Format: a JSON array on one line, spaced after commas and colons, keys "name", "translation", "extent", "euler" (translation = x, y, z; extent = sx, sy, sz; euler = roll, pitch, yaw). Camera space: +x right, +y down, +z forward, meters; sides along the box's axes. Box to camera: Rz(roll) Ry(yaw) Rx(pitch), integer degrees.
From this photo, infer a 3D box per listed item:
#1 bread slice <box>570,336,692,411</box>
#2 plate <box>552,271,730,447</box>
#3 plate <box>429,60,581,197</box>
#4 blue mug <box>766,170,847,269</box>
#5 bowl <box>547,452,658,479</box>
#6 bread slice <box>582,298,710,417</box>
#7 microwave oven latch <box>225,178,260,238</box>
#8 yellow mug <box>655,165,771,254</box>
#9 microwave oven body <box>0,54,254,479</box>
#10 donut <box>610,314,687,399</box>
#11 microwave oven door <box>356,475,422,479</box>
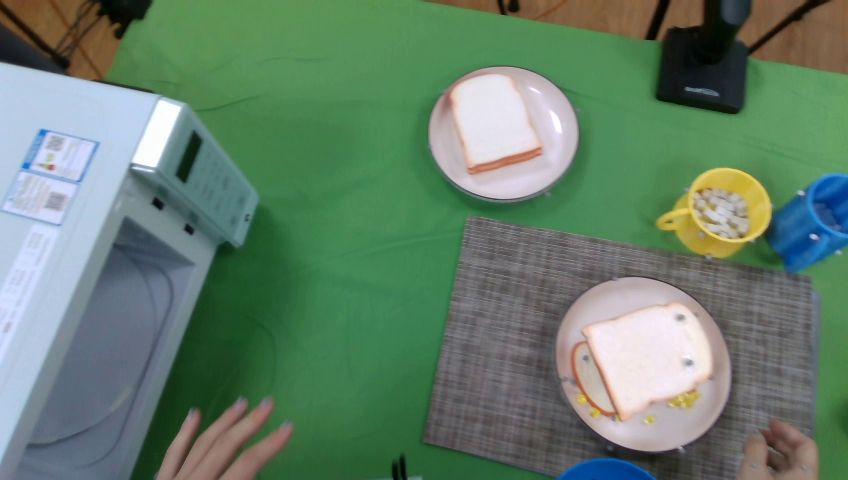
[{"name": "bread slice", "translation": [0.247, 0.149, 0.737], "extent": [0.131, 0.019, 0.104], "euler": [-19, 71, -5]}, {"name": "plate", "translation": [0.258, 0.143, 0.736], "extent": [0.209, 0.038, 0.208], "euler": [-1, 72, 3]}, {"name": "plate", "translation": [0.111, -0.152, 0.844], "extent": [0.207, 0.039, 0.206], "euler": [-1, 72, 3]}, {"name": "blue mug", "translation": [0.480, -0.015, 0.744], "extent": [0.082, 0.106, 0.116], "euler": [32, 76, 13]}, {"name": "bowl", "translation": [0.194, 0.312, 0.667], "extent": [0.151, 0.077, 0.150], "euler": [-1, 72, 3]}, {"name": "bread slice", "translation": [0.253, 0.122, 0.680], "extent": [0.134, 0.018, 0.106], "euler": [-21, 79, -11]}, {"name": "microwave oven latch", "translation": [-0.245, -0.045, 0.807], "extent": [0.030, 0.030, 0.079], "euler": [16, 74, 8]}, {"name": "yellow mug", "translation": [0.364, -0.035, 0.778], "extent": [0.131, 0.064, 0.099], "euler": [-9, 71, 2]}, {"name": "microwave oven body", "translation": [-0.439, 0.054, 0.683], "extent": [0.325, 0.262, 0.439], "euler": [13, 74, 7]}, {"name": "donut", "translation": [0.263, 0.136, 0.709], "extent": [0.099, 0.048, 0.098], "euler": [5, 75, -19]}, {"name": "microwave oven door", "translation": [-0.186, 0.267, 0.596], "extent": [0.356, 0.245, 0.039], "euler": [-5, 71, 1]}]
